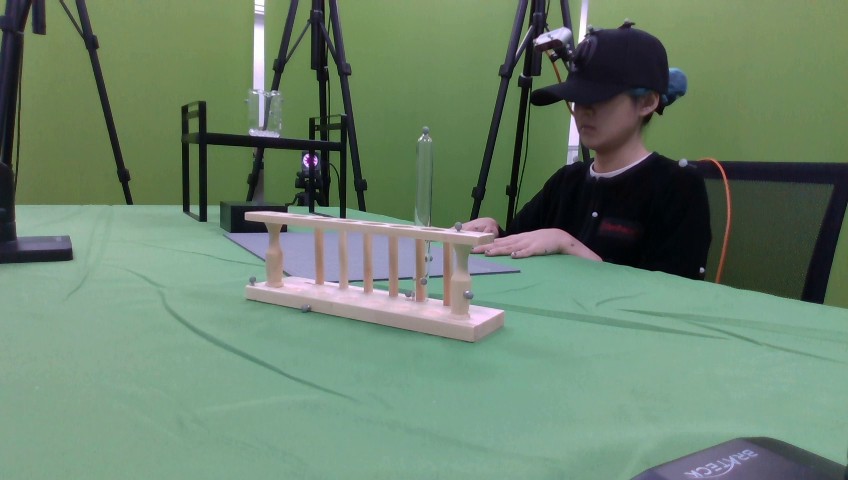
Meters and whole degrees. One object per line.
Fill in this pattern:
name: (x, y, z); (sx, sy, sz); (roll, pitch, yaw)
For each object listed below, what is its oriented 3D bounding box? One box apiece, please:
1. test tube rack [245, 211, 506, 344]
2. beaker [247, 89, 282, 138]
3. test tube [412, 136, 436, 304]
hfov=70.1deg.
test tube rack: (-0.049, 0.025, 0.547); (0.241, 0.085, 0.067); (7, 8, 28)
beaker: (-0.347, -0.274, 1.320); (0.074, 0.100, 0.083); (-1, 9, -27)
test tube: (0.000, -0.017, 0.537); (0.017, 0.150, 0.017); (2, 8, 0)
